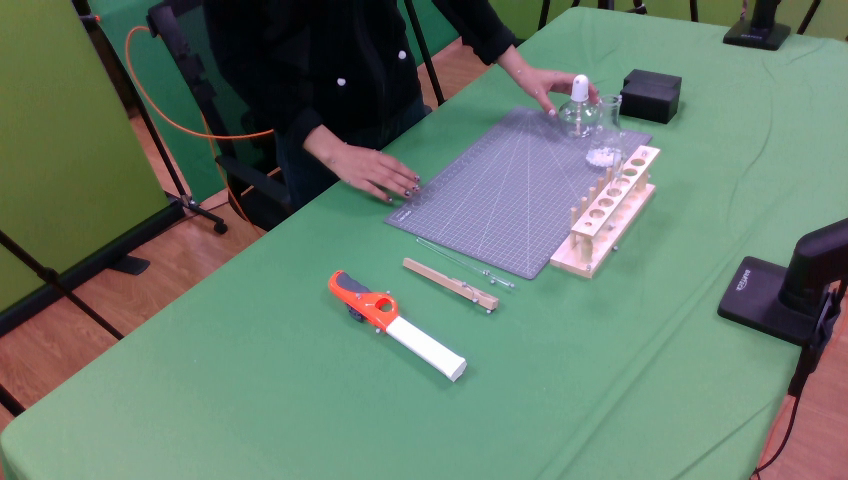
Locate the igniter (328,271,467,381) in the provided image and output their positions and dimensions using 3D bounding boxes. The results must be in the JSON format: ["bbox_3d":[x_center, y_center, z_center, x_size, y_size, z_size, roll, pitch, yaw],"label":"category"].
[{"bbox_3d":[-0.049,0.114,0.854,0.274,0.025,0.057,29,63,37],"label":"igniter"}]

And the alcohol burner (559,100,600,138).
[{"bbox_3d":[0.298,-0.257,1.156,0.078,0.119,0.077,-4,39,4],"label":"alcohol burner"}]

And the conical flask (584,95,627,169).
[{"bbox_3d":[0.324,-0.192,1.066,0.075,0.122,0.075,-6,40,5],"label":"conical flask"}]

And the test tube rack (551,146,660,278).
[{"bbox_3d":[0.286,-0.053,0.943,0.066,0.085,0.243,21,49,32],"label":"test tube rack"}]

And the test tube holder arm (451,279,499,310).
[{"bbox_3d":[0.071,0.078,0.882,0.087,0.015,0.010,24,15,34],"label":"test tube holder arm"}]

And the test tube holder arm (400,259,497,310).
[{"bbox_3d":[0.033,0.064,0.902,0.177,0.015,0.013,23,15,33],"label":"test tube holder arm"}]

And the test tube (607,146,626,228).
[{"bbox_3d":[0.283,-0.074,0.892,0.017,0.151,0.017,-5,44,6],"label":"test tube"}]

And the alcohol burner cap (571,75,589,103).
[{"bbox_3d":[0.294,-0.284,1.132,0.034,0.048,0.033,-5,46,5],"label":"alcohol burner cap"}]

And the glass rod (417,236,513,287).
[{"bbox_3d":[0.059,0.032,0.944,0.198,0.008,0.008,27,52,38],"label":"glass rod"}]
